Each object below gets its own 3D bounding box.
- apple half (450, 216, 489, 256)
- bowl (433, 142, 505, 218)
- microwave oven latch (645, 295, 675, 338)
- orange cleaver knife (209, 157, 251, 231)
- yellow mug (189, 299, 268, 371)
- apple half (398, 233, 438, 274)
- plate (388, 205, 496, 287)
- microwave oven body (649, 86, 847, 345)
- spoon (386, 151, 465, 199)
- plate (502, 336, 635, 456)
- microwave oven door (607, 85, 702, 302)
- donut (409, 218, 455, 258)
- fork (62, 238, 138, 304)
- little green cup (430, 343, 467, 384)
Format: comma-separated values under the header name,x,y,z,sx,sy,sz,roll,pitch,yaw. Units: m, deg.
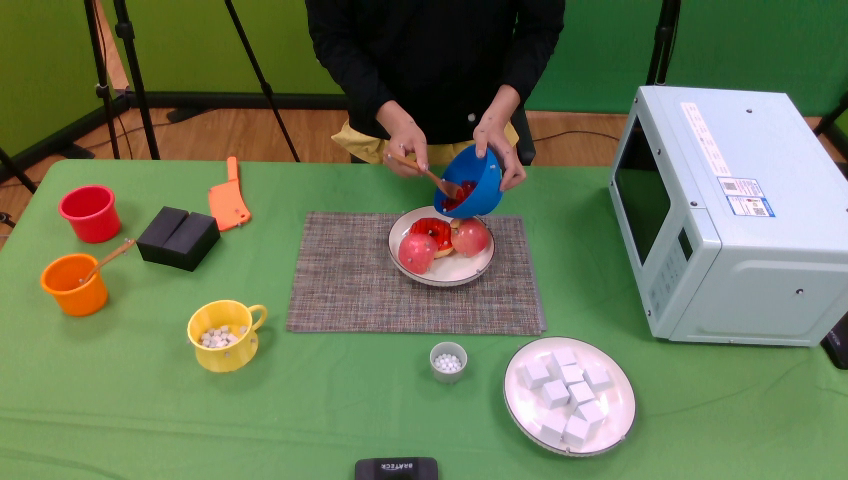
name,x,y,z,sx,sy,sz,roll,pitch,yaw
apple half,0.092,-0.013,1.158,0.075,0.053,0.080,34,39,-28
bowl,0.095,-0.095,1.112,0.077,0.151,0.150,32,39,-26
microwave oven latch,0.412,0.134,1.062,0.030,0.029,0.078,3,45,0
orange cleaver knife,-0.409,-0.099,1.266,0.077,0.012,0.210,-14,50,-10
yellow mug,-0.316,0.148,1.002,0.131,0.064,0.099,-33,56,-31
apple half,-0.016,0.022,1.123,0.081,0.033,0.081,-2,83,14
plate,0.033,0.014,1.171,0.209,0.038,0.208,2,46,-2
microwave oven body,0.568,-0.053,1.118,0.326,0.261,0.439,2,45,-1
spoon,0.005,-0.119,1.083,0.195,0.021,0.041,27,42,-42
plate,0.225,0.248,0.964,0.208,0.039,0.206,2,46,-2
microwave oven door,0.423,-0.094,1.141,0.039,0.245,0.353,2,46,-1
donut,0.019,-0.005,1.174,0.099,0.048,0.098,3,42,-3
fork,-0.547,0.053,1.018,0.207,0.019,0.028,-36,41,23
little green cup,0.039,0.203,0.993,0.061,0.039,0.061,2,46,-2
